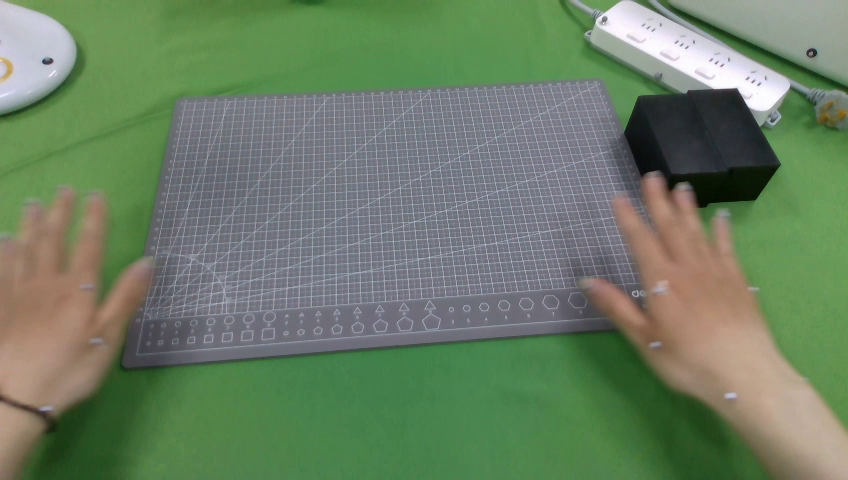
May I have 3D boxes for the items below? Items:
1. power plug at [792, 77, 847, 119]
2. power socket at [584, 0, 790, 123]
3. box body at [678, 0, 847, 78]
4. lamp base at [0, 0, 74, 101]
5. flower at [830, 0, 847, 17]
[{"bbox_3d":[0.409,-0.145,0.627,0.053,0.035,0.072,-27,29,-29],"label":"power plug"},{"bbox_3d":[0.281,-0.201,0.654,0.225,0.033,0.072,39,63,23],"label":"power socket"},{"bbox_3d":[0.488,-0.321,0.662,0.361,0.162,0.254,36,62,21],"label":"box body"},{"bbox_3d":[-0.459,-0.251,0.576,0.160,0.182,0.177,-31,59,-21],"label":"lamp base"},{"bbox_3d":[0.492,-0.290,0.727,0.044,0.038,0.358,-31,65,6],"label":"flower"}]
